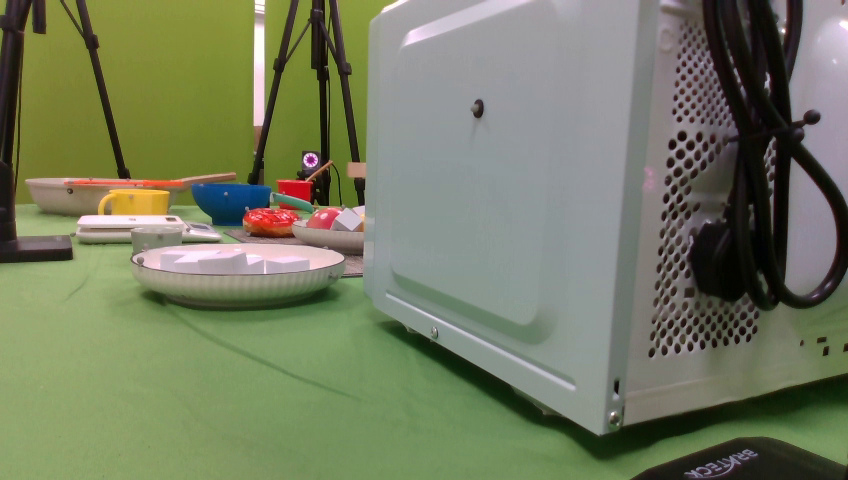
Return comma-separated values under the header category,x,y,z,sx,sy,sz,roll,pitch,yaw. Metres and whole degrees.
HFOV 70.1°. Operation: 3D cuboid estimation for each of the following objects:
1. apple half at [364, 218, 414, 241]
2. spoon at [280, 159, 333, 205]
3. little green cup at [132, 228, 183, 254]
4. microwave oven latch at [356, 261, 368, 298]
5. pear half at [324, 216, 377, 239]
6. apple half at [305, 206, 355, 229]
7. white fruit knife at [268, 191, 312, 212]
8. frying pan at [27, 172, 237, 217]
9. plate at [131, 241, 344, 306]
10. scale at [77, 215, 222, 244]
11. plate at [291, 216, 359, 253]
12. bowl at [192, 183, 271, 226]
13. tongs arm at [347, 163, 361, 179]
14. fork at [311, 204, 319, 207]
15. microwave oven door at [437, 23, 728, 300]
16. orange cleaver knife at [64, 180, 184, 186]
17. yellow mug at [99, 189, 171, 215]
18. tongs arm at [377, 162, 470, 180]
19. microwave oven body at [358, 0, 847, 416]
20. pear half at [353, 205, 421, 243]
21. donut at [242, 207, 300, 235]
category,x,y,z,sx,sy,sz,roll,pitch,yaw
apple half,-0.054,-0.019,0.968,0.081,0.033,0.081,-2,9,1
spoon,-0.317,-0.159,1.640,0.194,0.022,0.041,-49,32,-20
little green cup,-0.342,0.006,0.779,0.061,0.038,0.061,2,8,0
microwave oven latch,-0.019,0.033,0.530,0.079,0.029,0.030,-1,7,-26
pear half,-0.119,-0.023,0.996,0.088,0.031,0.070,-4,23,-27
apple half,-0.138,-0.025,0.917,0.081,0.053,0.074,0,10,-43
white fruit knife,-0.364,-0.105,1.464,0.208,0.027,0.016,15,-1,-34
frying pan,-0.624,-0.118,1.387,0.305,0.102,0.490,8,17,32
plate,-0.187,0.033,0.625,0.208,0.039,0.207,2,7,0
scale,-0.434,-0.019,0.963,0.202,0.031,0.148,-1,9,-27
plate,-0.103,-0.010,0.945,0.209,0.038,0.209,2,7,0
bowl,-0.382,-0.071,1.202,0.151,0.077,0.151,3,7,0
tongs arm,-0.027,-0.133,1.144,0.028,0.028,0.389,0,7,29
fork,-0.356,-0.105,1.526,0.208,0.018,0.028,16,-5,-41
microwave oven door,0.180,-0.072,0.621,0.358,0.243,0.039,-2,8,-29
orange cleaver knife,-0.595,-0.114,1.212,0.212,0.012,0.077,-4,6,-41
yellow mug,-0.519,-0.055,1.080,0.099,0.064,0.131,7,9,26
tongs arm,0.004,-0.131,1.129,0.050,0.026,0.386,4,9,29
microwave oven body,0.211,-0.047,0.475,0.444,0.260,0.324,-1,7,-28
pear half,-0.051,-0.023,0.905,0.110,0.056,0.076,1,-1,-37
donut,-0.263,-0.031,1.039,0.099,0.048,0.099,4,9,0
